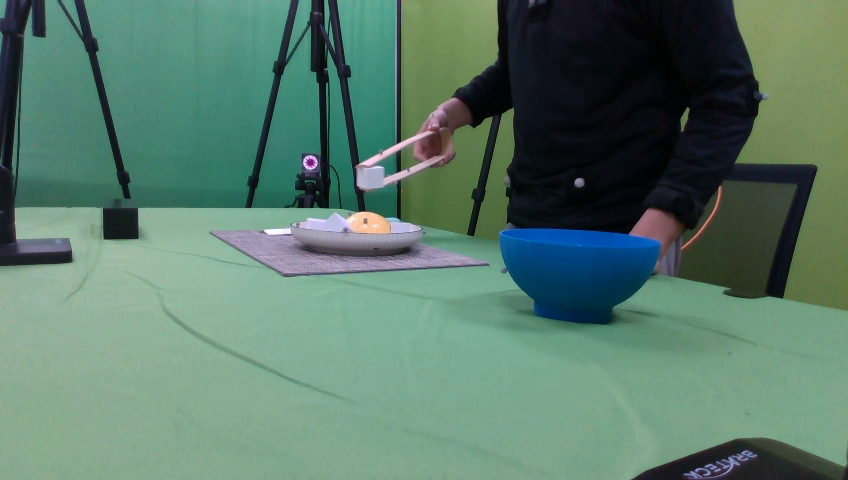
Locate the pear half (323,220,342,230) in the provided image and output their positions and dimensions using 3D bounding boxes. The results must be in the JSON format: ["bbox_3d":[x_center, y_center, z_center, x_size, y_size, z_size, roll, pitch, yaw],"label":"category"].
[{"bbox_3d":[-0.126,-0.019,1.001,0.088,0.031,0.070,8,4,1],"label":"pear half"}]

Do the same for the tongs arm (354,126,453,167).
[{"bbox_3d":[-0.024,-0.171,1.087,0.027,0.028,0.388,-3,17,24],"label":"tongs arm"}]

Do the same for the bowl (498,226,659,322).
[{"bbox_3d":[0.145,0.032,0.584,0.151,0.077,0.151,2,7,0],"label":"bowl"}]

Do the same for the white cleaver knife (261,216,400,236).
[{"bbox_3d":[-0.169,-0.021,1.156,0.288,0.021,0.065,-7,20,-33],"label":"white cleaver knife"}]

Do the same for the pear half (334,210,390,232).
[{"bbox_3d":[-0.107,-0.017,0.920,0.110,0.056,0.076,-5,5,-20],"label":"pear half"}]

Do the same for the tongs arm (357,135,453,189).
[{"bbox_3d":[-0.022,-0.148,1.094,0.026,0.051,0.386,1,14,23],"label":"tongs arm"}]

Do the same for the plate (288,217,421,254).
[{"bbox_3d":[-0.109,-0.007,0.956,0.208,0.039,0.207,2,7,0],"label":"plate"}]
